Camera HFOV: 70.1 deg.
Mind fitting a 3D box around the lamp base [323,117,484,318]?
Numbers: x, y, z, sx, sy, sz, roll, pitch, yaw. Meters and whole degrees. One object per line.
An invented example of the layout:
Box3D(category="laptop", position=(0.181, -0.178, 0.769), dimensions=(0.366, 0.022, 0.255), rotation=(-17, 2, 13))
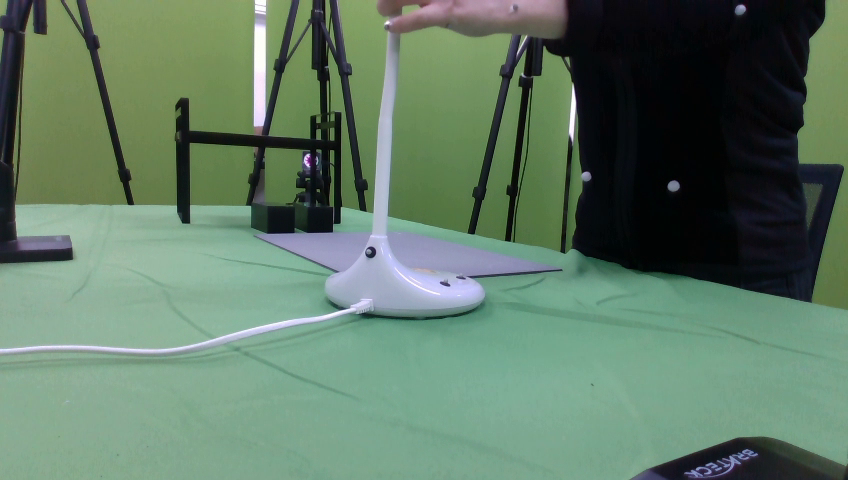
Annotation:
Box3D(category="lamp base", position=(-0.020, -0.025, 0.582), dimensions=(0.160, 0.180, 0.179), rotation=(5, 10, 16))
